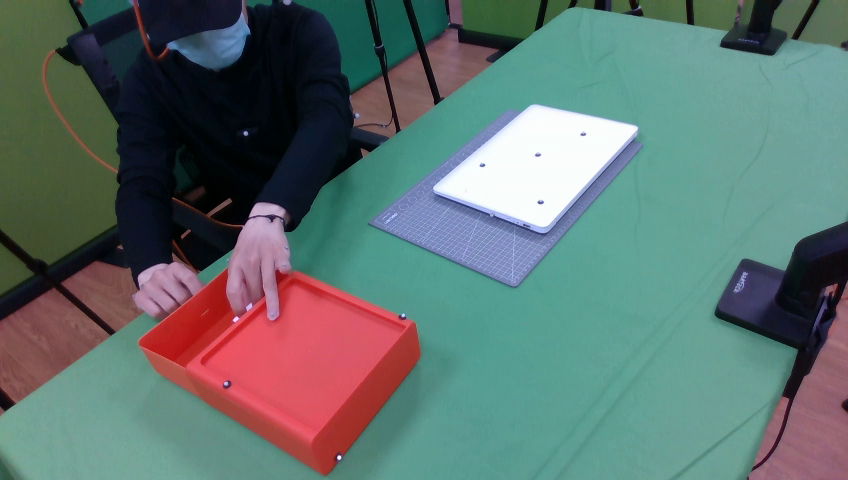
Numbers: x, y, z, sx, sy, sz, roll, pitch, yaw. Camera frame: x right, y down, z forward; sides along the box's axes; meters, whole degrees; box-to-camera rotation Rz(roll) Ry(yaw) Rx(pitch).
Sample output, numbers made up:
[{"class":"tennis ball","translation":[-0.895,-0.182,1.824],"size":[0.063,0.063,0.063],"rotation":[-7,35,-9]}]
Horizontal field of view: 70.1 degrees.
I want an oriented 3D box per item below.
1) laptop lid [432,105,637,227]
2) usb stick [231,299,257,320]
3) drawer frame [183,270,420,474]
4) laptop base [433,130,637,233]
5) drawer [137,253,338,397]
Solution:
[{"class":"laptop lid","translation":[0.207,-0.152,1.105],"size":[0.239,0.013,0.358],"rotation":[23,49,34]},{"class":"usb stick","translation":[-0.253,0.113,0.858],"size":[0.021,0.027,0.059],"rotation":[28,65,32]},{"class":"drawer frame","translation":[-0.149,0.153,0.767],"size":[0.212,0.083,0.202],"rotation":[19,46,27]},{"class":"laptop base","translation":[0.210,-0.142,1.111],"size":[0.233,0.023,0.355],"rotation":[21,47,34]},{"class":"drawer","translation":[-0.231,0.127,0.812],"size":[0.210,0.073,0.195],"rotation":[18,46,27]}]
